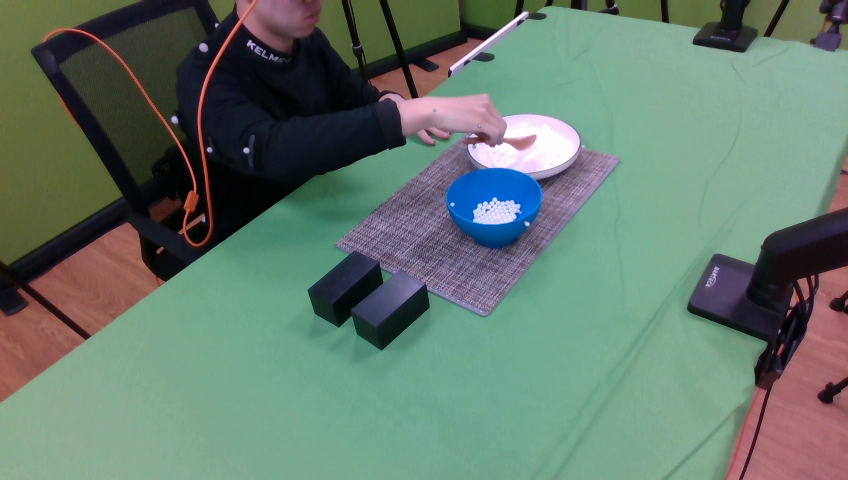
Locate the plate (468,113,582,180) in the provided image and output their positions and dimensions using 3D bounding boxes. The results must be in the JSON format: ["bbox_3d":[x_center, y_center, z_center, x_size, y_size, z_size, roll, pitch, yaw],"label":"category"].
[{"bbox_3d":[0.186,-0.169,1.122,0.207,0.039,0.206,-4,41,4],"label":"plate"}]

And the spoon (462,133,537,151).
[{"bbox_3d":[0.131,-0.169,1.036,0.195,0.041,0.021,-5,57,-41],"label":"spoon"}]

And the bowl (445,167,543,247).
[{"bbox_3d":[0.111,-0.041,0.952,0.151,0.077,0.150,-4,40,4],"label":"bowl"}]
